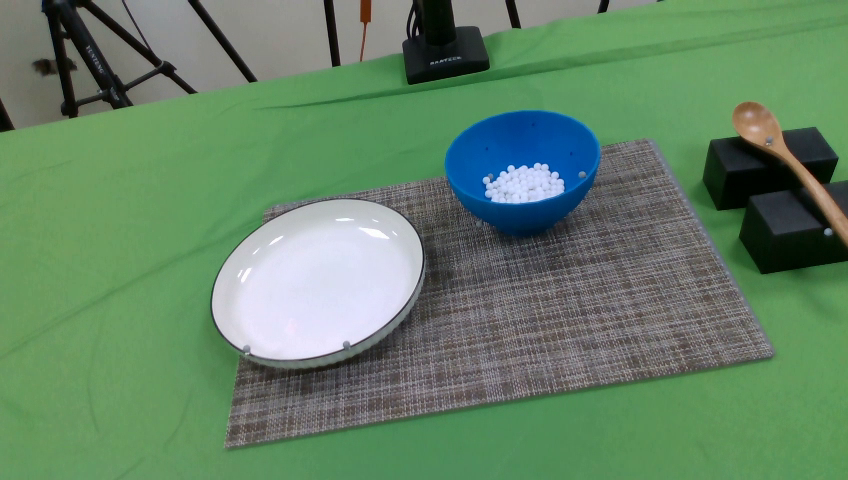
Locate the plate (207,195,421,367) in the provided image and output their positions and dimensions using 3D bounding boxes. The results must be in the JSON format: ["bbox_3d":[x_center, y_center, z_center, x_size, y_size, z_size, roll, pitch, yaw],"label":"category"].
[{"bbox_3d":[-0.103,0.039,0.590,0.207,0.039,0.205,-6,45,7],"label":"plate"}]

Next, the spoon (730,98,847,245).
[{"bbox_3d":[0.329,-0.065,0.538,0.041,0.022,0.191,-12,46,2],"label":"spoon"}]

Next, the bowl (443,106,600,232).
[{"bbox_3d":[0.098,-0.061,0.611,0.151,0.077,0.150,-6,45,7],"label":"bowl"}]
